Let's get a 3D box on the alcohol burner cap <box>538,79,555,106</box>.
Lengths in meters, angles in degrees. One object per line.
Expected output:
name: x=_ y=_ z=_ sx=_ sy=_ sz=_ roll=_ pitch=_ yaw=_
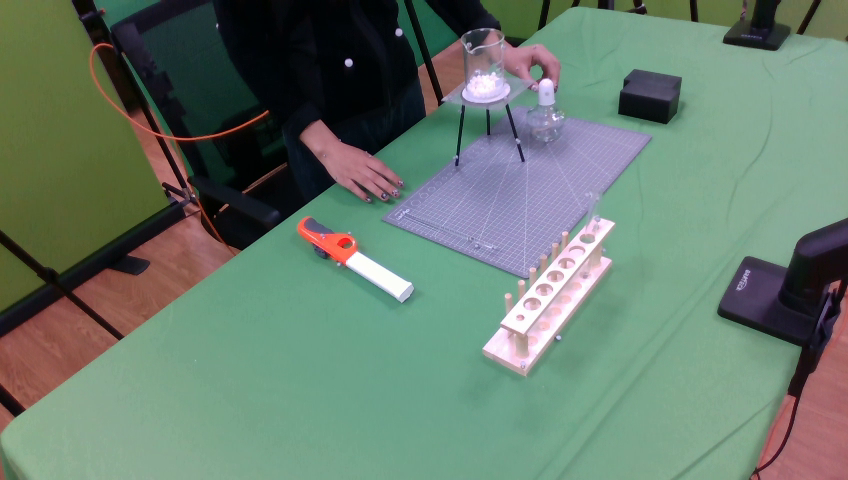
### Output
alcohol burner cap: x=0.229 y=-0.279 z=1.136 sx=0.034 sy=0.048 sz=0.033 roll=-8 pitch=34 yaw=6

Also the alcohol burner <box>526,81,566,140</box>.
alcohol burner: x=0.234 y=-0.252 z=1.159 sx=0.078 sy=0.119 sz=0.077 roll=-4 pitch=42 yaw=4

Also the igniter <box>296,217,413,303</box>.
igniter: x=-0.121 y=0.025 z=0.970 sx=0.274 sy=0.025 sz=0.057 roll=30 pitch=63 yaw=37

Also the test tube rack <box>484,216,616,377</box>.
test tube rack: x=0.174 y=0.064 z=0.823 sx=0.066 sy=0.085 sz=0.243 roll=23 pitch=49 yaw=32

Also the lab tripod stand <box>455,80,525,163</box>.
lab tripod stand: x=0.120 y=-0.220 z=1.126 sx=0.148 sy=0.132 sz=0.147 roll=-4 pitch=40 yaw=4

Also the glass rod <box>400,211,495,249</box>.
glass rod: x=0.035 y=-0.018 z=1.001 sx=0.198 sy=0.008 sz=0.008 roll=21 pitch=49 yaw=35

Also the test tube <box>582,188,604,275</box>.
test tube: x=0.228 y=-0.007 z=0.821 sx=0.017 sy=0.151 sz=0.017 roll=-3 pitch=42 yaw=3

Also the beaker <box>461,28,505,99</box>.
beaker: x=0.103 y=-0.304 z=1.051 sx=0.073 sy=0.101 sz=0.084 roll=19 pitch=48 yaw=29

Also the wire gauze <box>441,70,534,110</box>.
wire gauze: x=0.114 y=-0.268 z=1.082 sx=0.120 sy=0.011 sz=0.125 roll=22 pitch=47 yaw=29
